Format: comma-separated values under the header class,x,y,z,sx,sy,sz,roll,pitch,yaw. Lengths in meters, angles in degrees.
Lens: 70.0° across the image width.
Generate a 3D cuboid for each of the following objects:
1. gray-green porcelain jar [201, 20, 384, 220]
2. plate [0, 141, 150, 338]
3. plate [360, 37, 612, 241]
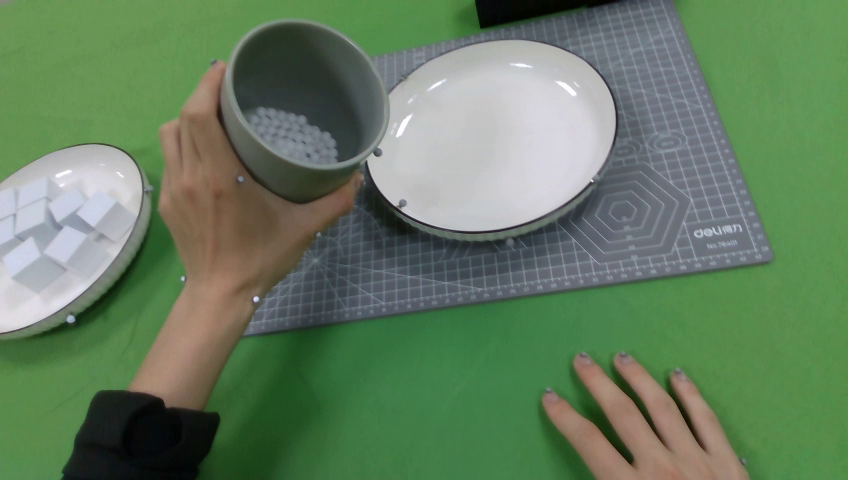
class,x,y,z,sx,sy,sz,roll,pitch,yaw
gray-green porcelain jar,-0.101,-0.077,0.436,0.106,0.126,0.105,8,71,-25
plate,-0.349,-0.001,0.568,0.207,0.039,0.205,-7,58,11
plate,0.049,-0.085,0.507,0.209,0.038,0.207,-7,57,11
